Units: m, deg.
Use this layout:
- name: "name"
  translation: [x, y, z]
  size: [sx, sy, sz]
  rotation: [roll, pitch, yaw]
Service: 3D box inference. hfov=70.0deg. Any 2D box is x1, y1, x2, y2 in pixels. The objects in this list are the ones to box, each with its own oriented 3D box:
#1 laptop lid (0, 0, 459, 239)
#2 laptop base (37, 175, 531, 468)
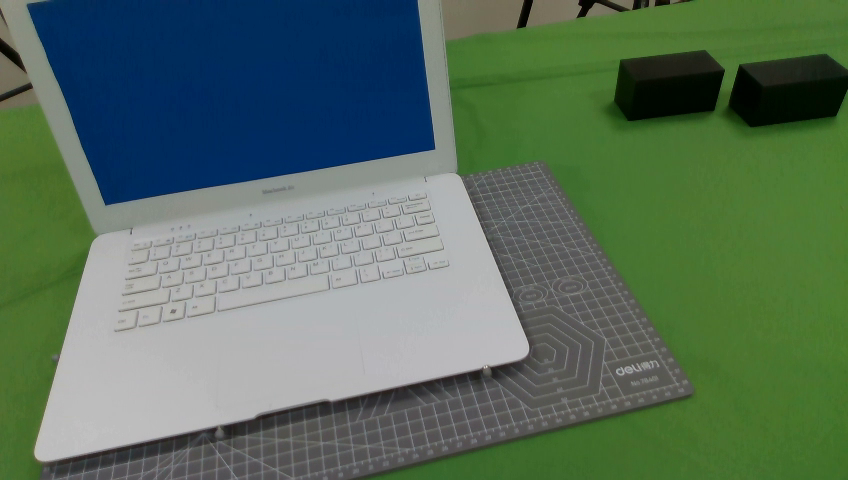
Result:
- name: "laptop lid"
  translation: [-0.150, -0.131, 0.541]
  size: [0.357, 0.243, 0.013]
  rotation: [-12, 28, -6]
- name: "laptop base"
  translation: [-0.113, 0.049, 0.511]
  size: [0.355, 0.023, 0.233]
  rotation: [-11, 46, -6]
